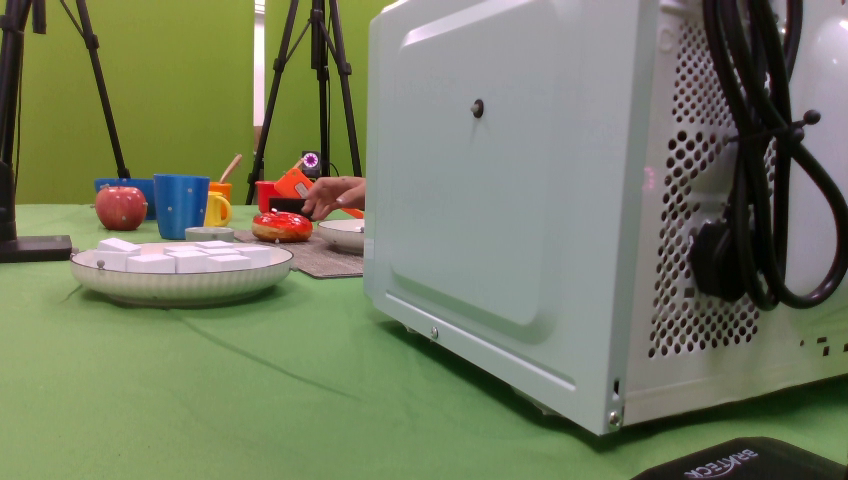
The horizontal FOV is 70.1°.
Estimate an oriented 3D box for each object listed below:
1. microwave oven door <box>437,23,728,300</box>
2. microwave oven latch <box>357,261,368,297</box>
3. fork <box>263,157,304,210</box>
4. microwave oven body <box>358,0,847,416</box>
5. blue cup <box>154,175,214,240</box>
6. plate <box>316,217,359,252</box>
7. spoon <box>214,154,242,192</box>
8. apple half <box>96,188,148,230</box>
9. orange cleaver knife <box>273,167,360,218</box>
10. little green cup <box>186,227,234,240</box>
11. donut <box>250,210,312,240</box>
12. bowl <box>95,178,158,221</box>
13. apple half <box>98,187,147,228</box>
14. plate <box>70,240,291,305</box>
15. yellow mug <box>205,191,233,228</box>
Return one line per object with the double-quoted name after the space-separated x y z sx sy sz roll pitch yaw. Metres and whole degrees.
0.181 -0.072 0.621 0.358 0.243 0.039 -2 8 -29 "microwave oven door"
-0.019 0.033 0.531 0.079 0.029 0.030 -1 7 -27 "microwave oven latch"
-0.345 -0.143 1.505 0.028 0.019 0.207 -4 46 29 "fork"
0.211 -0.047 0.474 0.444 0.260 0.324 -1 7 -28 "microwave oven body"
-0.390 -0.053 0.978 0.093 0.100 0.092 3 6 0 "blue cup"
-0.064 -0.007 0.943 0.209 0.038 0.209 3 8 0 "plate"
-0.439 -0.124 1.317 0.041 0.193 0.022 5 -37 16 "spoon"
-0.517 -0.052 1.036 0.081 0.074 0.053 3 10 -26 "apple half"
-0.238 -0.091 1.381 0.212 0.077 0.012 31 0 -19 "orange cleaver knife"
-0.285 0.005 0.805 0.061 0.038 0.061 2 8 0 "little green cup"
-0.231 -0.022 0.983 0.099 0.048 0.099 5 7 0 "donut"
-0.576 -0.081 1.217 0.151 0.077 0.151 3 8 0 "bowl"
-0.534 -0.059 1.071 0.082 0.081 0.032 -1 12 -25 "apple half"
-0.242 0.031 0.618 0.208 0.039 0.207 2 8 0 "plate"
-0.415 -0.057 1.132 0.130 0.064 0.100 6 8 16 "yellow mug"
